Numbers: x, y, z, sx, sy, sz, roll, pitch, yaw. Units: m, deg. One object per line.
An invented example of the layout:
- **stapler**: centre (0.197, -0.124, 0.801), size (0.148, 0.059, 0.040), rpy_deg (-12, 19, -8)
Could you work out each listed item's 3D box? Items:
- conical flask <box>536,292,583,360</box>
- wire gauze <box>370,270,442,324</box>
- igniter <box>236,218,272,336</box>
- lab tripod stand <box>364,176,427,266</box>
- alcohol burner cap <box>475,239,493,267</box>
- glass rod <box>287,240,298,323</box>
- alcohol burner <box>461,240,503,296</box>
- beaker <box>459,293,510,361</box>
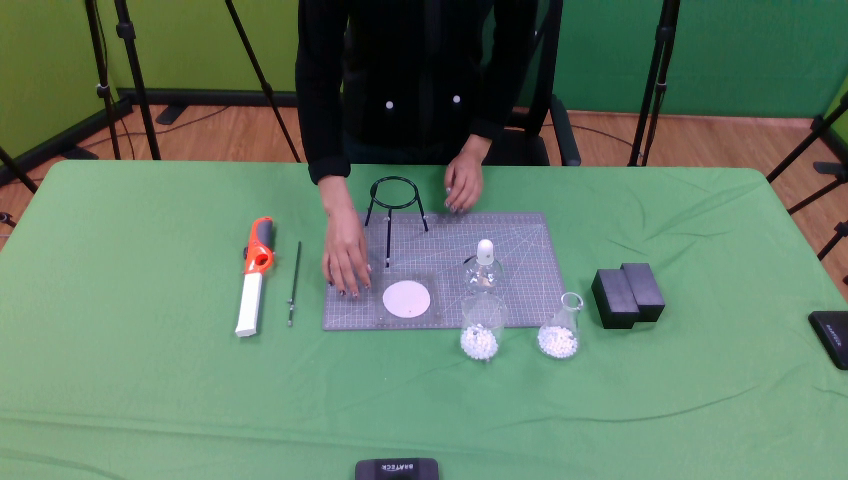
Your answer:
- **conical flask**: centre (0.234, 0.139, 1.015), size (0.075, 0.122, 0.075), rpy_deg (2, 46, -2)
- **wire gauze**: centre (-0.035, 0.104, 1.103), size (0.125, 0.011, 0.120), rpy_deg (-3, 46, -5)
- **igniter**: centre (-0.312, 0.058, 1.115), size (0.057, 0.025, 0.274), rpy_deg (-9, 46, 2)
- **lab tripod stand**: centre (-0.057, -0.047, 1.159), size (0.148, 0.132, 0.147), rpy_deg (3, 44, -2)
- **alcohol burner cap**: centre (0.107, 0.020, 1.071), size (0.034, 0.048, 0.033), rpy_deg (-2, 45, 2)
- **glass rod**: centre (-0.242, 0.071, 1.119), size (0.008, 0.008, 0.198), rpy_deg (-1, 47, -5)
- **alcohol burner**: centre (0.106, 0.045, 1.098), size (0.078, 0.120, 0.077), rpy_deg (2, 44, -1)
- **beaker**: centre (0.094, 0.147, 1.012), size (0.083, 0.101, 0.074), rpy_deg (26, 49, 21)
